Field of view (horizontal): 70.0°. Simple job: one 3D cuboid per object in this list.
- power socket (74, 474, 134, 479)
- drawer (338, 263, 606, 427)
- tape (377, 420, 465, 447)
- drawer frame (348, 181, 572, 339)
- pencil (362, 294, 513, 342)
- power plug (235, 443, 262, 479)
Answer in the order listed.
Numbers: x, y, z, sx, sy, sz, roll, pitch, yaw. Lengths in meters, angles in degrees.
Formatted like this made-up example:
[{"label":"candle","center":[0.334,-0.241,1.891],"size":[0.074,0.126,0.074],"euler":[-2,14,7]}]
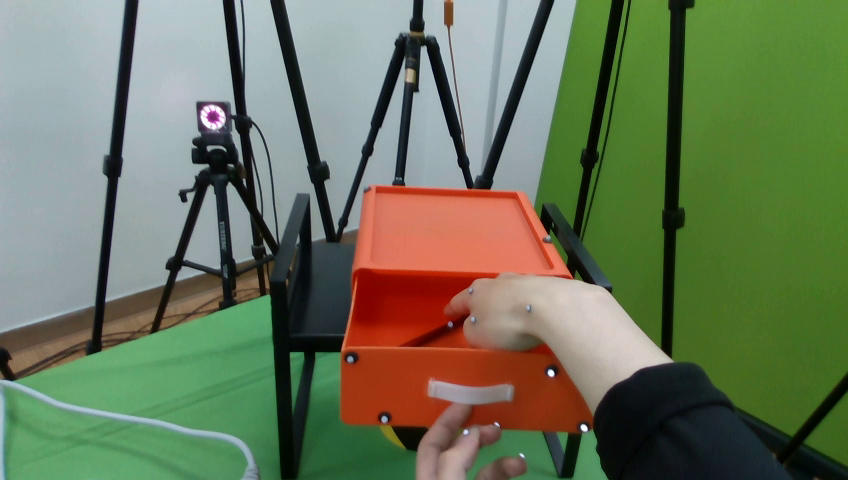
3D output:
[{"label":"power socket","center":[-0.235,0.261,0.554],"size":[0.226,0.033,0.072],"euler":[5,25,4]},{"label":"drawer","center":[0.031,0.067,0.535],"size":[0.195,0.074,0.210],"euler":[3,25,-3]},{"label":"tape","center":[-0.001,0.187,0.724],"size":[0.117,0.053,0.116],"euler":[4,27,-2]},{"label":"drawer frame","center":[0.026,0.013,0.639],"size":[0.202,0.083,0.211],"euler":[1,25,-5]},{"label":"pencil","center":[0.012,0.076,0.565],"size":[0.195,0.012,0.012],"euler":[-12,30,-36]},{"label":"power plug","center":[-0.157,0.235,0.566],"size":[0.035,0.053,0.072],"euler":[11,28,13]}]
